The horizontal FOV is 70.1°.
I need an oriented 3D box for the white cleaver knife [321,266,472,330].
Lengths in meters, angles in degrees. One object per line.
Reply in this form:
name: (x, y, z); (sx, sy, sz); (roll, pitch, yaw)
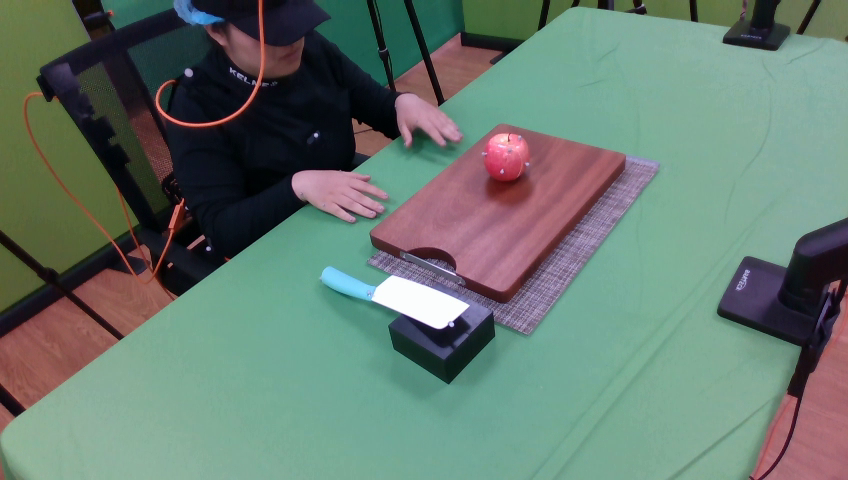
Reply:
white cleaver knife: (-0.049, 0.075, 0.867); (0.284, 0.021, 0.066); (16, 42, 43)

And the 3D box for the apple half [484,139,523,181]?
apple half: (0.128, -0.129, 1.029); (0.080, 0.081, 0.033); (22, 45, 32)

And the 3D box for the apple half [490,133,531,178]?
apple half: (0.153, -0.150, 1.051); (0.080, 0.075, 0.053); (21, 44, 35)
